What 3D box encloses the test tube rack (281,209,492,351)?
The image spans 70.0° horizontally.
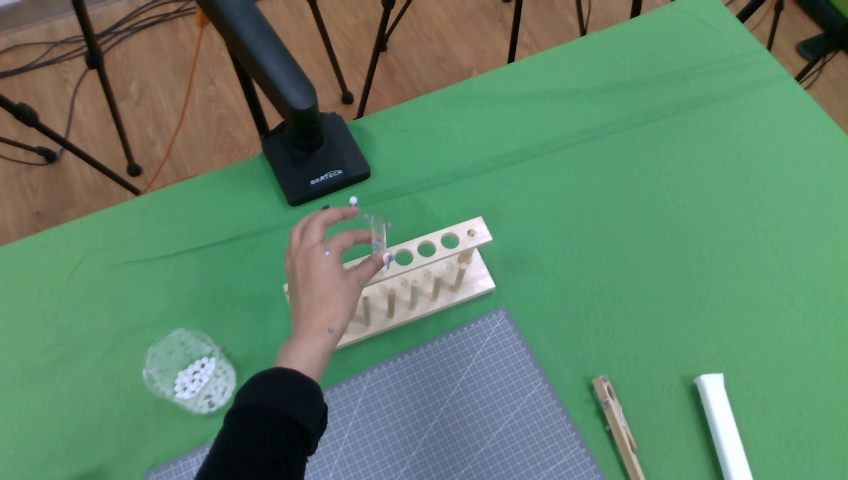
[{"bbox_3d":[-0.036,0.048,0.718,0.243,0.086,0.066,-20,67,-12],"label":"test tube rack"}]

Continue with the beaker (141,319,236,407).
[{"bbox_3d":[-0.247,0.140,0.654,0.074,0.101,0.083,-21,67,-13],"label":"beaker"}]

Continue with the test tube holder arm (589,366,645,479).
[{"bbox_3d":[0.225,0.229,0.682,0.013,0.015,0.177,3,60,-39],"label":"test tube holder arm"}]

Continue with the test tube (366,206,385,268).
[{"bbox_3d":[-0.050,0.004,0.638,0.017,0.151,0.017,1,66,-2],"label":"test tube"}]

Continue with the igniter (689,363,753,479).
[{"bbox_3d":[0.346,0.273,0.664,0.057,0.025,0.274,0,64,-14],"label":"igniter"}]

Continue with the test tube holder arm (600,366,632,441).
[{"bbox_3d":[0.218,0.190,0.703,0.010,0.015,0.087,5,59,-39],"label":"test tube holder arm"}]
